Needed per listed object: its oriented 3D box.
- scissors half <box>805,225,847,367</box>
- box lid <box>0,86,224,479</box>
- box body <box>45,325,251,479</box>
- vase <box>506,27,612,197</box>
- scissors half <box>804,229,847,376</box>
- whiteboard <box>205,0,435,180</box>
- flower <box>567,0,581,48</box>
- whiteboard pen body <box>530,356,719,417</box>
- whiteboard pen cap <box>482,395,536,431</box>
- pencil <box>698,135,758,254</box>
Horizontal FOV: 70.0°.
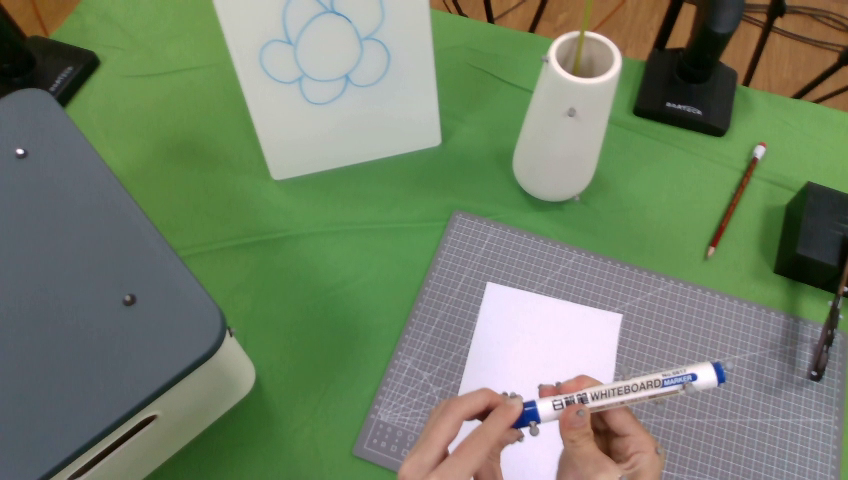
[{"bbox_3d":[0.415,0.049,0.614,0.012,0.040,0.174,16,64,30],"label":"scissors half"},{"bbox_3d":[-0.372,0.030,0.514,0.263,0.015,0.368,-39,69,-19],"label":"box lid"},{"bbox_3d":[-0.370,0.067,0.580,0.254,0.161,0.361,-39,69,-18],"label":"box body"},{"bbox_3d":[0.146,-0.133,0.663,0.098,0.201,0.097,0,61,1],"label":"vase"},{"bbox_3d":[0.424,0.058,0.631,0.012,0.040,0.175,15,81,36],"label":"scissors half"},{"bbox_3d":[-0.120,-0.255,0.702,0.217,0.308,0.142,-13,44,-6],"label":"whiteboard"},{"bbox_3d":[0.143,-0.186,0.597,0.044,0.365,0.038,11,45,10],"label":"flower"},{"bbox_3d":[0.112,0.095,0.380,0.140,0.017,0.017,-15,62,8],"label":"whiteboard pen body"},{"bbox_3d":[0.055,0.111,0.387,0.033,0.018,0.018,-16,62,3],"label":"whiteboard pen cap"},{"bbox_3d":[0.366,-0.057,0.729,0.012,0.012,0.193,29,67,15],"label":"pencil"}]
